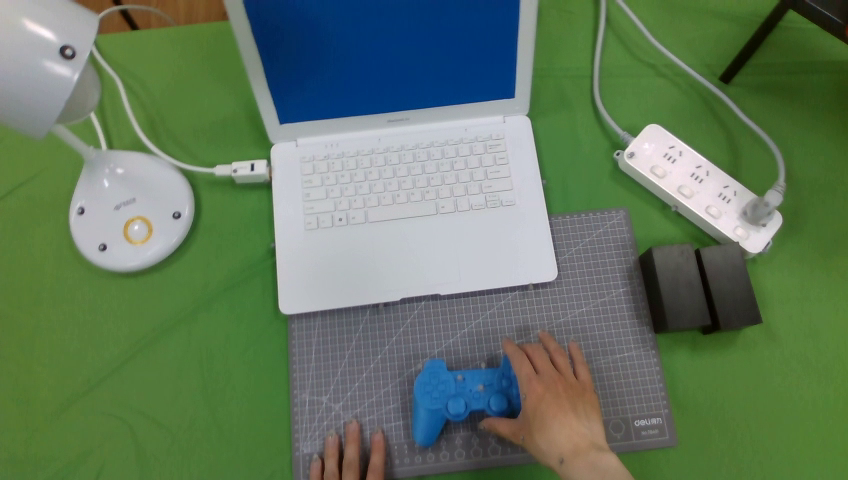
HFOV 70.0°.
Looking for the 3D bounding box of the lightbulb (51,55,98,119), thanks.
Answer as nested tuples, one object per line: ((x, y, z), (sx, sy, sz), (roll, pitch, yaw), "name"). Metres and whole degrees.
((-0.304, -0.136, 0.459), (0.059, 0.109, 0.059), (-20, 52, 29), "lightbulb")

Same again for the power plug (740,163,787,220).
((0.426, -0.054, 0.753), (0.072, 0.053, 0.035), (-38, 76, -11), "power plug")

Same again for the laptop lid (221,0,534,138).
((-0.044, -0.233, 0.733), (0.357, 0.244, 0.013), (-8, 49, 0), "laptop lid")

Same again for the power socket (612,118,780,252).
((0.352, -0.072, 0.784), (0.226, 0.033, 0.072), (40, 78, 11), "power socket")

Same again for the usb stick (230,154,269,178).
((-0.222, -0.097, 0.795), (0.059, 0.027, 0.021), (-3, 68, -3), "usb stick")

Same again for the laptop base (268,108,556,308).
((-0.021, -0.046, 0.790), (0.354, 0.023, 0.234), (-7, 76, -1), "laptop base")

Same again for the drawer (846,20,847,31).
((0.585, -0.252, 0.620), (0.193, 0.073, 0.211), (39, 78, 11), "drawer")

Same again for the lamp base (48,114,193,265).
((-0.391, -0.076, 0.718), (0.160, 0.181, 0.178), (-37, 74, -9), "lamp base")

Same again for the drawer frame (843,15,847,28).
((0.587, -0.257, 0.620), (0.201, 0.083, 0.213), (38, 78, 11), "drawer frame")

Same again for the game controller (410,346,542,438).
((0.058, 0.176, 0.707), (0.155, 0.052, 0.096), (-4, 70, 0), "game controller")

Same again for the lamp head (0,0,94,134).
((-0.327, -0.153, 0.445), (0.124, 0.112, 0.112), (24, 70, -36), "lamp head")
